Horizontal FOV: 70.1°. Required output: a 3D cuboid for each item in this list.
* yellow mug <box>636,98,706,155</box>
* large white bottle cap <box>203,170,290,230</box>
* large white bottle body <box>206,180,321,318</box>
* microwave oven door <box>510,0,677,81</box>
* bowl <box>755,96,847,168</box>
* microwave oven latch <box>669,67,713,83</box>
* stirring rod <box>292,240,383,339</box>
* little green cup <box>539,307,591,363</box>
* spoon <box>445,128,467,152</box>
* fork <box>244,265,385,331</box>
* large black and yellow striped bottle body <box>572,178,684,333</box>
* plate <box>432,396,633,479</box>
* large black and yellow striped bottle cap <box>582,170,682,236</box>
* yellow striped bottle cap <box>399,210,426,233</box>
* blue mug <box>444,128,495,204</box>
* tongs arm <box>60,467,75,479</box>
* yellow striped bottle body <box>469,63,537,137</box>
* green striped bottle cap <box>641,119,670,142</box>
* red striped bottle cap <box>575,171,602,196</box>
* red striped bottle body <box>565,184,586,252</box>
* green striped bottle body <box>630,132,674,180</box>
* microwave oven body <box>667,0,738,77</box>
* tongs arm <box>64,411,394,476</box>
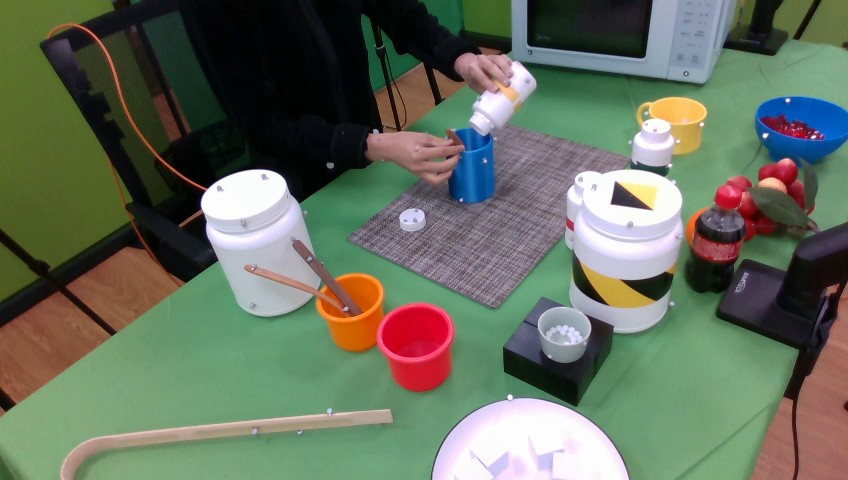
[{"bbox_3d":[0.453,-0.217,1.128,0.100,0.064,0.129,-34,46,-27],"label":"yellow mug"},{"bbox_3d":[-0.241,-0.057,0.822,0.115,0.018,0.114,-4,40,4],"label":"large white bottle cap"},{"bbox_3d":[-0.233,0.008,0.876,0.130,0.185,0.130,-5,40,4],"label":"large white bottle body"},{"bbox_3d":[0.353,-0.478,1.290,0.353,0.245,0.039,15,45,25],"label":"microwave oven door"},{"bbox_3d":[0.645,-0.177,1.041,0.151,0.077,0.150,-5,40,4],"label":"bowl"},{"bbox_3d":[0.556,-0.349,1.261,0.078,0.029,0.030,16,46,27],"label":"microwave oven latch"},{"bbox_3d":[-0.118,0.068,0.826,0.176,0.006,0.014,49,59,-4],"label":"stirring rod"},{"bbox_3d":[0.167,0.114,0.721,0.061,0.039,0.061,-4,43,4],"label":"little green cup"},{"bbox_3d":[0.064,-0.146,1.000,0.041,0.195,0.021,19,80,22],"label":"spoon"},{"bbox_3d":[-0.142,0.078,0.806,0.209,0.018,0.028,30,33,-23],"label":"fork"},{"bbox_3d":[0.262,0.017,0.788,0.131,0.185,0.130,-5,40,4],"label":"large black and yellow striped bottle body"},{"bbox_3d":[0.112,0.261,0.634,0.209,0.038,0.208,-5,40,4],"label":"plate"},{"bbox_3d":[0.252,-0.048,0.735,0.115,0.019,0.114,-3,40,3],"label":"large black and yellow striped bottle cap"},{"bbox_3d":[-0.019,-0.032,1.017,0.044,0.019,0.044,-4,39,4],"label":"yellow striped bottle cap"},{"bbox_3d":[0.080,-0.139,1.058,0.082,0.106,0.116,-5,41,4],"label":"blue mug"},{"bbox_3d":[-0.239,0.301,0.648,0.386,0.028,0.028,6,49,16],"label":"tongs arm"},{"bbox_3d":[0.127,-0.230,1.011,0.120,0.063,0.062,-49,48,-1],"label":"yellow striped bottle body"},{"bbox_3d":[0.371,-0.175,0.968,0.044,0.020,0.044,-5,41,5],"label":"green striped bottle cap"},{"bbox_3d":[0.242,-0.081,0.876,0.044,0.018,0.044,-5,44,5],"label":"red striped bottle cap"},{"bbox_3d":[0.247,-0.041,0.910,0.063,0.120,0.062,-3,39,3],"label":"red striped bottle body"},{"bbox_3d":[0.376,-0.135,1.001,0.063,0.120,0.063,-5,41,5],"label":"green striped bottle body"},{"bbox_3d":[0.462,-0.552,1.369,0.439,0.261,0.326,15,45,26],"label":"microwave oven body"},{"bbox_3d":[-0.228,0.241,0.715,0.385,0.026,0.050,-5,43,4],"label":"tongs arm"}]
